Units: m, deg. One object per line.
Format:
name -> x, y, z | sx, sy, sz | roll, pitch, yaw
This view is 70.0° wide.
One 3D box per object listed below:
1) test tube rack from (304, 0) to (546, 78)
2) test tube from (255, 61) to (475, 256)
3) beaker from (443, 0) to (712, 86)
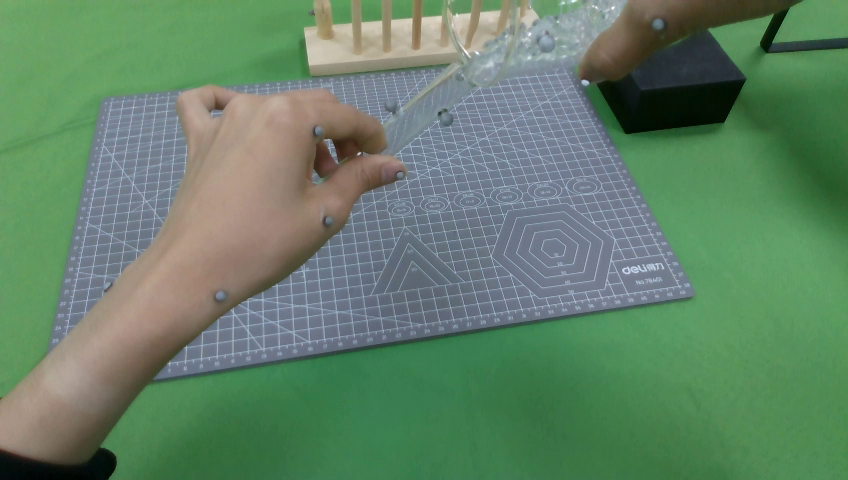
test tube rack -> 0.001, -0.226, 0.597 | 0.243, 0.086, 0.066 | -8, 52, -8
test tube -> -0.036, -0.037, 0.310 | 0.150, 0.017, 0.017 | -37, 50, 21
beaker -> 0.065, -0.111, 0.264 | 0.100, 0.084, 0.073 | -14, 59, -14
